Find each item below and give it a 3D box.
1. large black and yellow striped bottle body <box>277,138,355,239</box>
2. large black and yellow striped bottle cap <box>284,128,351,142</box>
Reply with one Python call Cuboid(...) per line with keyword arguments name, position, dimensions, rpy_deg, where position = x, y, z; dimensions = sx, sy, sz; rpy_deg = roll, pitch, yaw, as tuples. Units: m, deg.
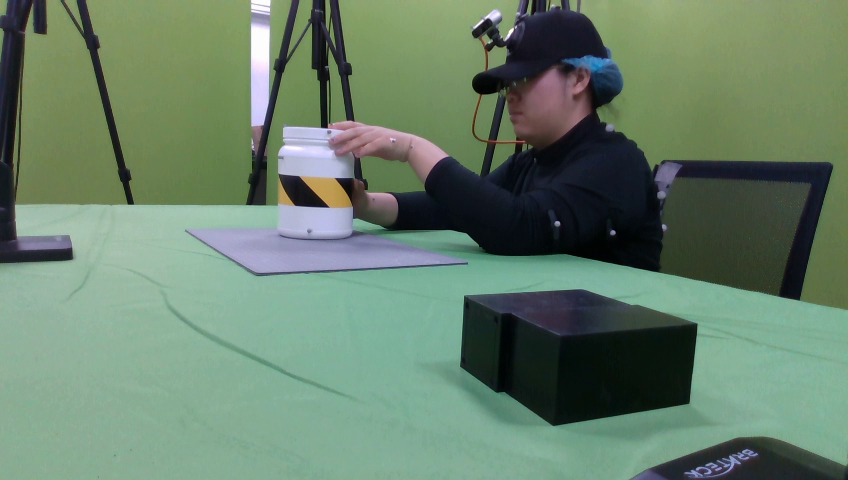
Cuboid(name="large black and yellow striped bottle body", position=(-0.188, -0.098, 1.054), dimensions=(0.131, 0.184, 0.130), rpy_deg=(3, 7, 0))
Cuboid(name="large black and yellow striped bottle cap", position=(-0.184, -0.181, 1.043), dimensions=(0.115, 0.019, 0.115), rpy_deg=(3, 9, 0))
